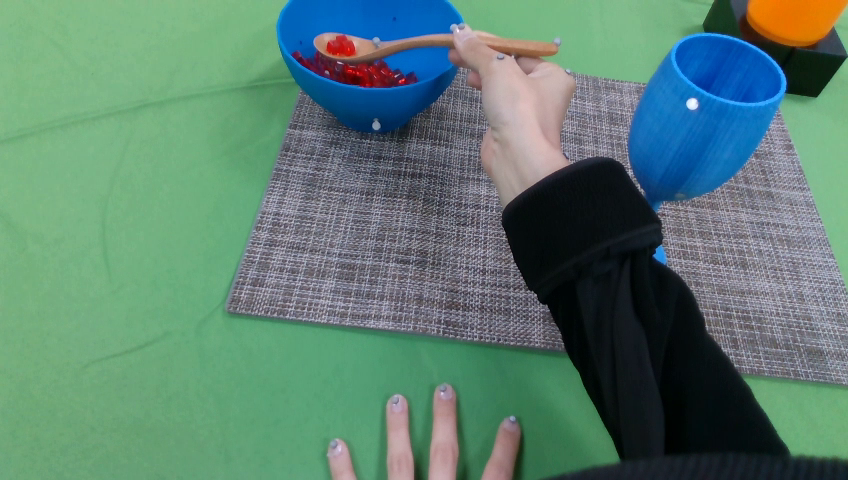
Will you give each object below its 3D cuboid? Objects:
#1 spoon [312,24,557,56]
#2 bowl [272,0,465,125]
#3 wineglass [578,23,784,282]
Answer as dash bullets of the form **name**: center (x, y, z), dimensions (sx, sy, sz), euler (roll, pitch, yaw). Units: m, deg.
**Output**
- **spoon**: center (0.001, -0.147, 0.443), dimensions (0.192, 0.022, 0.041), euler (8, 43, 27)
- **bowl**: center (-0.045, -0.150, 0.507), dimensions (0.151, 0.077, 0.150), euler (3, 54, -3)
- **wineglass**: center (0.155, -0.046, 0.392), dimensions (0.074, 0.173, 0.073), euler (3, 54, -3)
